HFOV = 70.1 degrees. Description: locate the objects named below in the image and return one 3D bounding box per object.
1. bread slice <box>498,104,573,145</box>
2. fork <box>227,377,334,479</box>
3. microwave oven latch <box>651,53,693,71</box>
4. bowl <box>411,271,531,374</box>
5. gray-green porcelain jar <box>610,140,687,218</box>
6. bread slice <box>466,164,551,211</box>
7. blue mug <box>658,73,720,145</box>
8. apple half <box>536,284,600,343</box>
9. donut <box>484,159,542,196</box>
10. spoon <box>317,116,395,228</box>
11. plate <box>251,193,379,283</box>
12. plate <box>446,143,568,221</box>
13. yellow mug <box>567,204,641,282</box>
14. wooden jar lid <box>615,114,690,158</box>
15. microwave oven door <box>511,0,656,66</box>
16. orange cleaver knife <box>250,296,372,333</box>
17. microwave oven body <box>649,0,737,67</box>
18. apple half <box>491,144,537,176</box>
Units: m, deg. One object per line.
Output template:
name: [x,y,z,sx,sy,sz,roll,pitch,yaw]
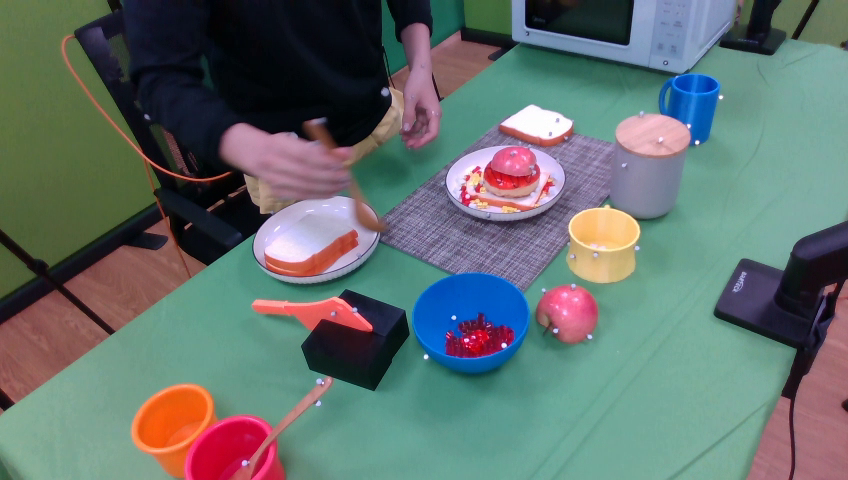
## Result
bread slice: [0.231,-0.231,1.205,0.105,0.019,0.130,-36,47,-29]
fork: [-0.162,0.216,0.647,0.207,0.019,0.028,-49,41,16]
microwave oven latch: [0.532,-0.386,1.301,0.078,0.029,0.030,27,52,34]
bowl: [0.062,0.119,0.780,0.151,0.077,0.150,-4,40,4]
gray-green porcelain jar: [0.354,-0.106,0.964,0.106,0.127,0.105,-4,41,4]
bread slice: [0.140,-0.092,1.042,0.133,0.018,0.107,11,43,19]
blue mug: [0.483,-0.250,1.127,0.082,0.106,0.115,-26,44,-19]
apple half: [0.196,0.091,0.815,0.075,0.053,0.080,-22,42,-19]
donut: [0.150,-0.112,1.018,0.099,0.048,0.098,-4,40,4]
spoon: [-0.081,-0.074,0.715,0.041,0.195,0.021,5,52,27]
plate: [-0.173,-0.001,0.985,0.209,0.038,0.208,-4,41,4]
plate: [0.142,-0.097,1.045,0.207,0.039,0.206,-4,40,4]
yellow mug: [0.268,-0.005,0.905,0.099,0.064,0.130,6,41,16]
wooden jar lid: [0.347,-0.155,0.923,0.108,0.021,0.108,-3,44,4]
microwave oven door: [0.350,-0.539,1.348,0.353,0.245,0.039,24,50,31]
orange cleaver knife: [-0.159,0.103,0.828,0.210,0.078,0.012,-4,43,39]
microwave oven body: [0.475,-0.602,1.411,0.438,0.261,0.327,23,50,32]
apple half: [0.149,-0.139,0.995,0.081,0.033,0.081,1,38,0]
